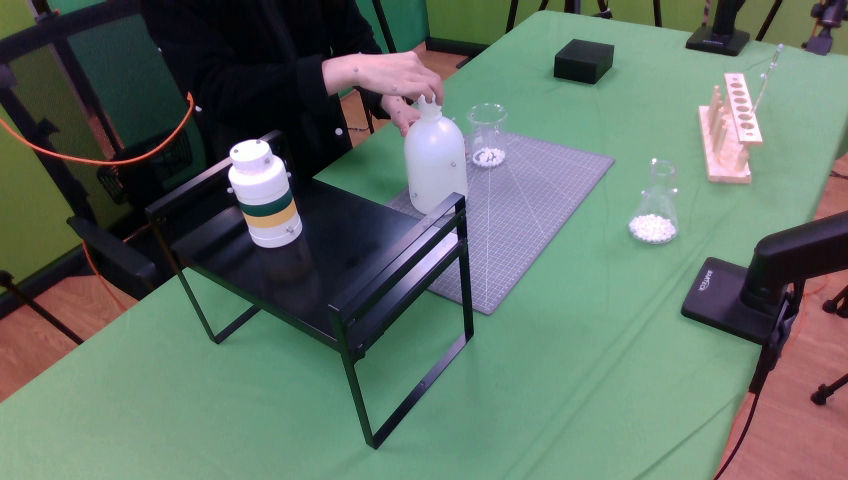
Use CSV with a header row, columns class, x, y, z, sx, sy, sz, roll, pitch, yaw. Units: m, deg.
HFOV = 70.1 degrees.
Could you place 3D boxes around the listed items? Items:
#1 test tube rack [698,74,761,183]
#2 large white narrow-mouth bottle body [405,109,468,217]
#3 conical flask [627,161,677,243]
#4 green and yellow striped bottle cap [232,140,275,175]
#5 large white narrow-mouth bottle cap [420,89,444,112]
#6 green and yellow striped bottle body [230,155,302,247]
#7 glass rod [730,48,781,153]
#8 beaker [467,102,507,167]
class,x,y,z,sx,sy,sz,roll,pitch,yaw
test tube rack,0.547,-0.208,1.095,0.066,0.085,0.242,5,42,15
large white narrow-mouth bottle body,0.020,-0.141,1.004,0.102,0.195,0.101,-3,38,3
conical flask,0.355,-0.061,0.921,0.075,0.122,0.075,-4,41,4
green and yellow striped bottle cap,-0.192,-0.093,0.680,0.045,0.020,0.045,-5,39,5
large white narrow-mouth bottle cap,0.012,-0.218,0.944,0.038,0.024,0.037,-3,38,3
green and yellow striped bottle body,-0.188,-0.055,0.714,0.063,0.120,0.063,-4,41,4
glass rod,0.554,-0.228,1.015,0.008,0.200,0.008,1,44,-1
beaker,0.121,-0.195,1.124,0.084,0.100,0.073,-34,48,-28
